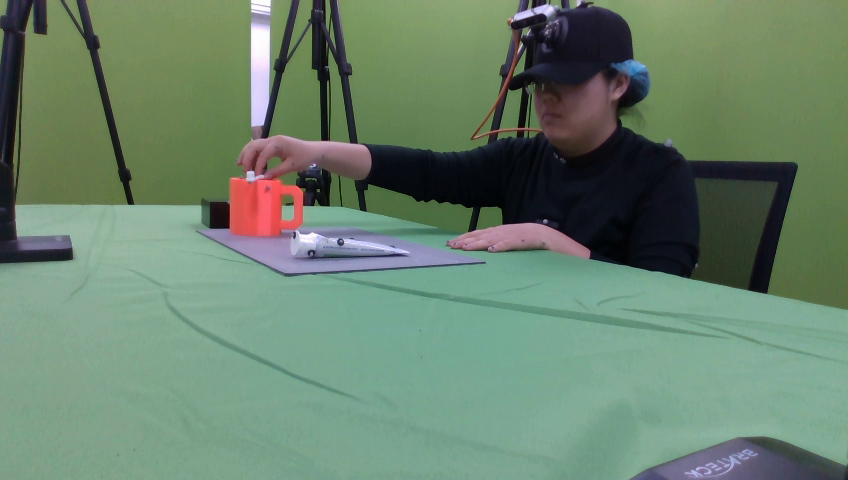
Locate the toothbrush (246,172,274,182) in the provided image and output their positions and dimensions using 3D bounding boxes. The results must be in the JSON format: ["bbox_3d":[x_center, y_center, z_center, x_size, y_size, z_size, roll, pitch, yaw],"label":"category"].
[{"bbox_3d":[-0.284,-0.112,1.053,0.014,0.016,0.181,-11,8,-1],"label":"toothbrush"}]

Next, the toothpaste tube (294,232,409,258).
[{"bbox_3d":[-0.103,0.010,0.853,0.166,0.034,0.055,3,10,-34],"label":"toothpaste tube"}]

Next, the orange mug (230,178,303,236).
[{"bbox_3d":[-0.276,-0.060,1.058,0.126,0.101,0.083,-2,8,-5],"label":"orange mug"}]

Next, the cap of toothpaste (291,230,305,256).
[{"bbox_3d":[-0.169,0.005,0.812,0.011,0.037,0.037,6,4,-30],"label":"cap of toothpaste"}]
